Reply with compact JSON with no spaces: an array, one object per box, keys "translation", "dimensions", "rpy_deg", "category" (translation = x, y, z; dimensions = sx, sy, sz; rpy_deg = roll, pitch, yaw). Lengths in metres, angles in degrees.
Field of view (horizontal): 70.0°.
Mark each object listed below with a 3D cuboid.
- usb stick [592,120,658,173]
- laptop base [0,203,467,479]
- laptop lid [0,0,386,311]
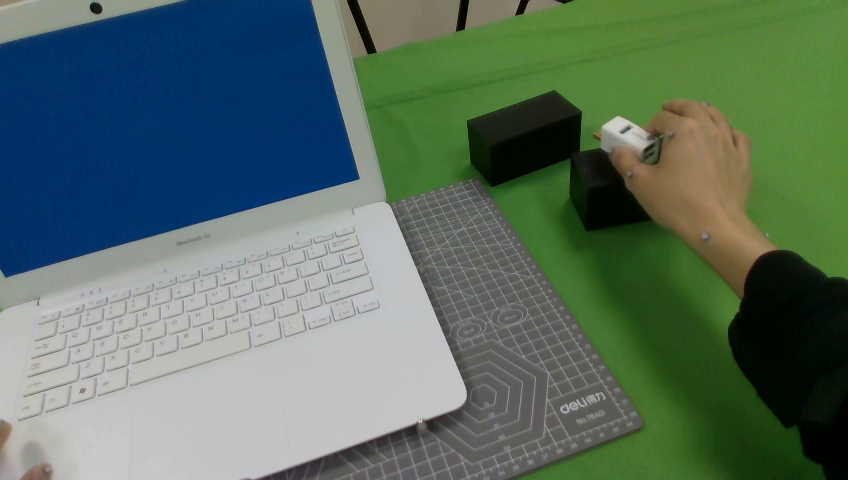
[{"translation":[0.165,-0.082,0.508],"dimensions":[0.021,0.027,0.058],"rpy_deg":[-36,46,-14],"category":"usb stick"},{"translation":[-0.168,0.092,0.471],"dimensions":[0.355,0.023,0.232],"rpy_deg":[-17,46,-8],"category":"laptop base"},{"translation":[-0.224,-0.083,0.499],"dimensions":[0.357,0.244,0.013],"rpy_deg":[-18,29,-7],"category":"laptop lid"}]
